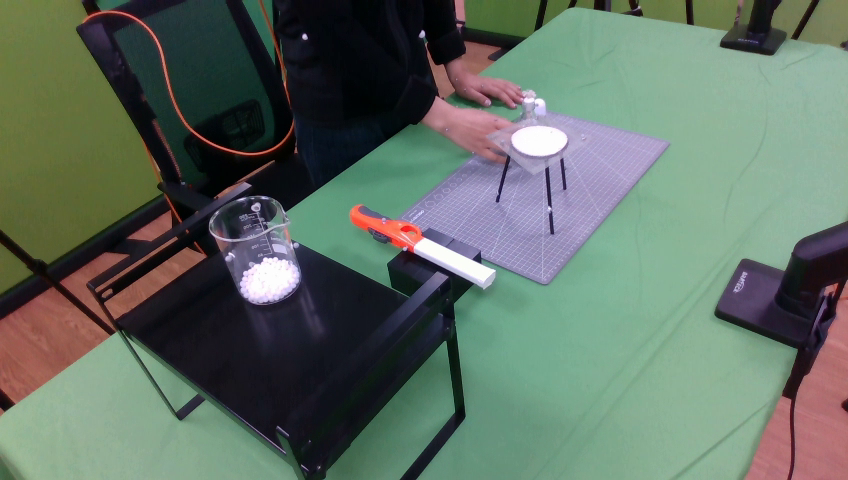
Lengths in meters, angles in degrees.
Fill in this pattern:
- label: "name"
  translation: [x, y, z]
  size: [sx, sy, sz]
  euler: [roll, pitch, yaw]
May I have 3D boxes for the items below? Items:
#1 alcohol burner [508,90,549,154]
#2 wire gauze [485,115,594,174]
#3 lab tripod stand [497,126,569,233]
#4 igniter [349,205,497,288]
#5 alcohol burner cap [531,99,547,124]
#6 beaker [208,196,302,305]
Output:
- label: "alcohol burner"
  translation: [0.196, -0.223, 1.134]
  size: [0.078, 0.119, 0.077]
  euler: [-5, 39, 5]
- label: "wire gauze"
  translation: [0.177, -0.154, 0.935]
  size: [0.122, 0.011, 0.124]
  euler: [-26, 45, -21]
- label: "lab tripod stand"
  translation: [0.188, -0.104, 0.979]
  size: [0.148, 0.132, 0.147]
  euler: [-3, 41, 3]
- label: "igniter"
  translation: [-0.013, 0.004, 0.897]
  size: [0.274, 0.025, 0.057]
  euler: [25, 45, 32]
- label: "alcohol burner cap"
  translation: [0.234, -0.264, 1.231]
  size: [0.034, 0.048, 0.033]
  euler: [-5, 41, 5]
- label: "beaker"
  translation: [-0.173, 0.014, 0.647]
  size: [0.084, 0.101, 0.073]
  euler: [-1, 41, 8]
